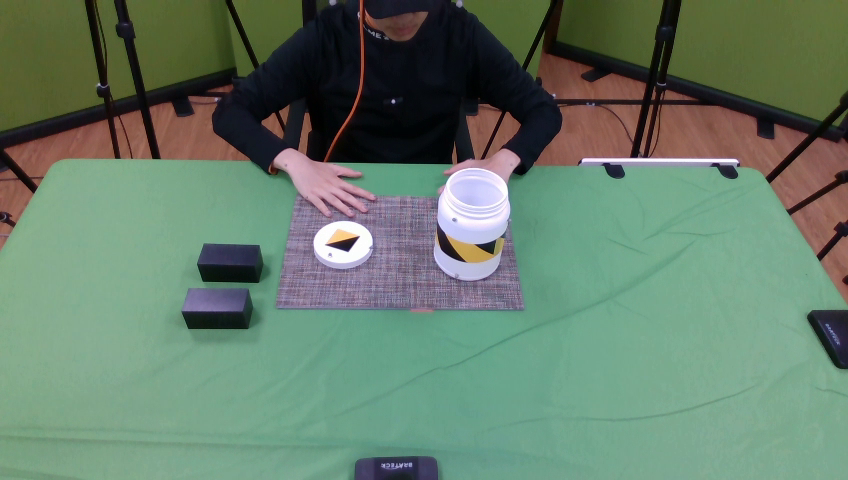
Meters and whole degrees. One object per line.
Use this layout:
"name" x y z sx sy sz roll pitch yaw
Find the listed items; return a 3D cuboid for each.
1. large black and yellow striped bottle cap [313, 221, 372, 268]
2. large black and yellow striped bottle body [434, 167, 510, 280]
"large black and yellow striped bottle cap" -0.158 0.007 1.176 0.115 0.019 0.114 2 45 -2
"large black and yellow striped bottle body" 0.087 -0.031 1.114 0.131 0.185 0.130 2 46 -2
